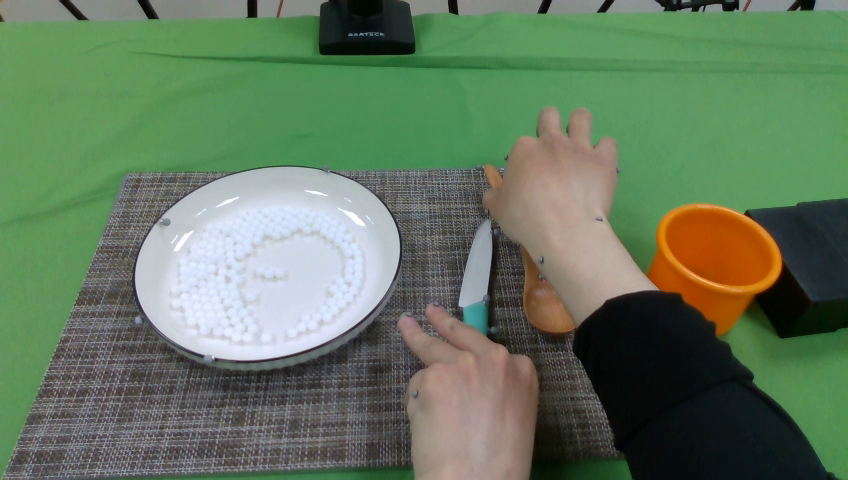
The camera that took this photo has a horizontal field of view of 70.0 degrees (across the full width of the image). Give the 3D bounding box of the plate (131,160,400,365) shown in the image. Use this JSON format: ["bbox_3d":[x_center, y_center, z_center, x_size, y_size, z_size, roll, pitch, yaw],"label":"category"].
[{"bbox_3d":[-0.123,0.015,0.495,0.209,0.038,0.207,2,48,-1],"label":"plate"}]

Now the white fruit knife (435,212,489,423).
[{"bbox_3d":[0.037,0.050,0.485,0.027,0.016,0.205,4,49,10],"label":"white fruit knife"}]

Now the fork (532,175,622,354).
[{"bbox_3d":[0.124,0.012,0.523,0.028,0.019,0.205,-9,51,-3],"label":"fork"}]

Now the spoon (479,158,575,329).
[{"bbox_3d":[0.082,-0.004,0.523,0.042,0.022,0.191,-11,57,-8],"label":"spoon"}]
